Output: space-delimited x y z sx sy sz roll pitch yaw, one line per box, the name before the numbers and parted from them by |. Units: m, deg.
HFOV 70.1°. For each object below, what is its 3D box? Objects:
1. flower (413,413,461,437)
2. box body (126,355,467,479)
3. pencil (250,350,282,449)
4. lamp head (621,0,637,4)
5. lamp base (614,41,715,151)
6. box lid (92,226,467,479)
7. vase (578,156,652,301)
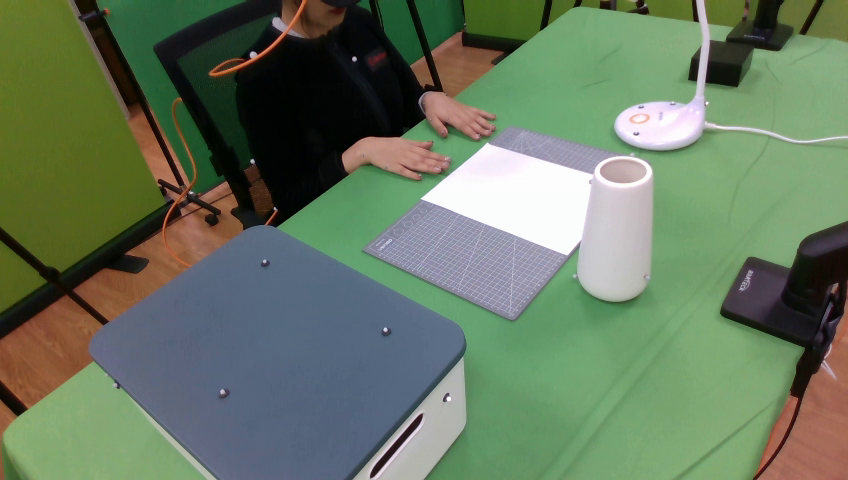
flower | -0.120 0.202 0.774 0.359 0.038 0.044 2 78 24
box body | -0.155 0.169 0.707 0.361 0.161 0.255 23 49 33
pencil | -0.212 0.203 0.798 0.012 0.012 0.192 -22 35 -14
lamp head | 0.319 -0.453 0.962 0.113 0.123 0.112 20 33 -13
lamp base | 0.449 -0.277 1.106 0.179 0.181 0.160 1 41 9
box lid | -0.167 0.110 0.661 0.368 0.015 0.264 24 50 33
vase | 0.261 -0.011 0.812 0.098 0.201 0.097 -4 40 4
